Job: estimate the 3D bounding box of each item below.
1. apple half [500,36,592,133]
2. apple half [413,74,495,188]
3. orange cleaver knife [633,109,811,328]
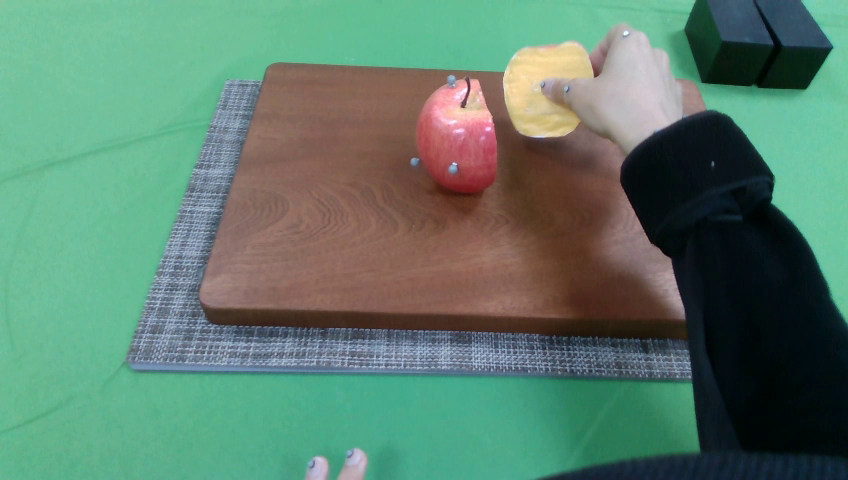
[{"bbox_3d":[0.102,-0.124,0.491,0.080,0.081,0.033,36,29,23],"label":"apple half"},{"bbox_3d":[0.019,-0.079,0.454,0.053,0.075,0.080,-10,57,-5],"label":"apple half"},{"bbox_3d":[0.217,-0.027,0.459,0.077,0.012,0.209,-3,55,-8],"label":"orange cleaver knife"}]
